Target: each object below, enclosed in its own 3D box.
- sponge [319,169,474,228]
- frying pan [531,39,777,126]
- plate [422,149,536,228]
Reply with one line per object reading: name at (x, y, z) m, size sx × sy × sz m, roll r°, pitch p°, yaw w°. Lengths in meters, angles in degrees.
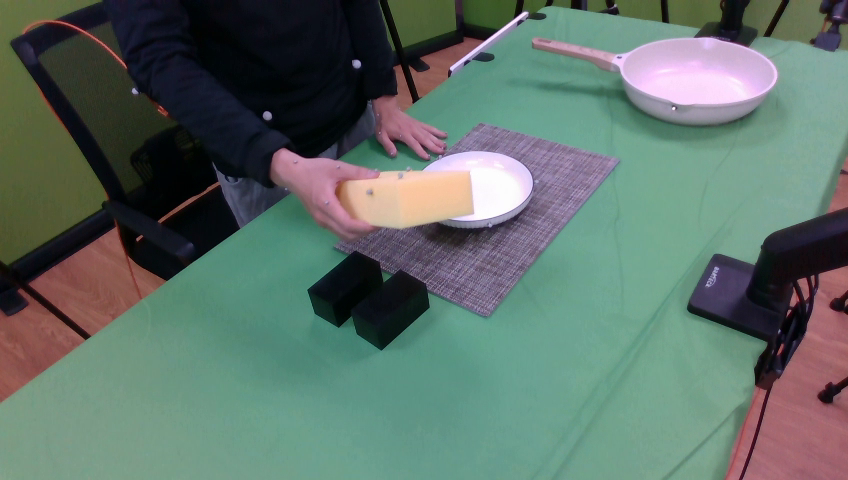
sponge at (-0.044, -0.060, 0.829) m, size 0.119 × 0.061 × 0.205 m, roll -13°, pitch 12°, yaw -35°
frying pan at (0.452, -0.354, 1.254) m, size 0.485 × 0.103 × 0.307 m, roll 22°, pitch 47°, yaw 19°
plate at (0.086, -0.085, 1.038) m, size 0.207 × 0.039 × 0.206 m, roll -4°, pitch 41°, yaw 4°
